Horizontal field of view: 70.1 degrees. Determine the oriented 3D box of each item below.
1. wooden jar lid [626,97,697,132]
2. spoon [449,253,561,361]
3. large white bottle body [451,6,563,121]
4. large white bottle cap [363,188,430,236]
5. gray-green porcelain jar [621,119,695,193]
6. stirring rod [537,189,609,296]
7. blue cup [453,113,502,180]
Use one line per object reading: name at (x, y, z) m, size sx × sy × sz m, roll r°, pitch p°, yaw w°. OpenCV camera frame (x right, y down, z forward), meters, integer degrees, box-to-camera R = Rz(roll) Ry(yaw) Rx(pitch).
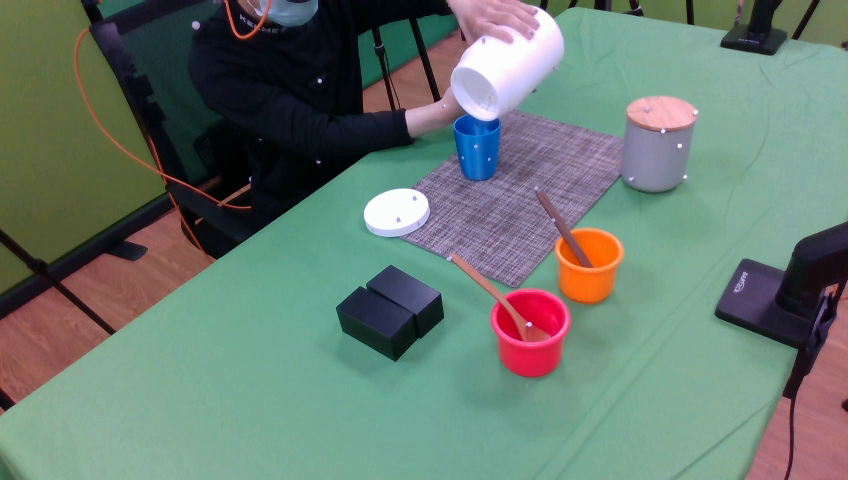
wooden jar lid at (0.382, -0.198, 0.976) m, size 0.108 × 0.021 × 0.108 m, roll -2°, pitch 40°, yaw 3°
spoon at (0.103, 0.083, 0.770) m, size 0.194 × 0.021 × 0.042 m, roll 47°, pitch 51°, yaw -7°
large white bottle body at (0.144, -0.306, 1.061) m, size 0.129 × 0.131 × 0.185 m, roll 27°, pitch 62°, yaw 34°
large white bottle cap at (-0.048, -0.050, 1.040) m, size 0.115 × 0.018 × 0.114 m, roll -7°, pitch 41°, yaw 6°
gray-green porcelain jar at (0.389, -0.152, 1.016) m, size 0.106 × 0.127 × 0.105 m, roll -4°, pitch 40°, yaw 4°
stirring rod at (0.211, 0.003, 0.855) m, size 0.014 × 0.006 × 0.176 m, roll -32°, pitch 88°, yaw -30°
blue cup at (0.097, -0.165, 1.088) m, size 0.092 × 0.100 × 0.092 m, roll -3°, pitch 39°, yaw 3°
